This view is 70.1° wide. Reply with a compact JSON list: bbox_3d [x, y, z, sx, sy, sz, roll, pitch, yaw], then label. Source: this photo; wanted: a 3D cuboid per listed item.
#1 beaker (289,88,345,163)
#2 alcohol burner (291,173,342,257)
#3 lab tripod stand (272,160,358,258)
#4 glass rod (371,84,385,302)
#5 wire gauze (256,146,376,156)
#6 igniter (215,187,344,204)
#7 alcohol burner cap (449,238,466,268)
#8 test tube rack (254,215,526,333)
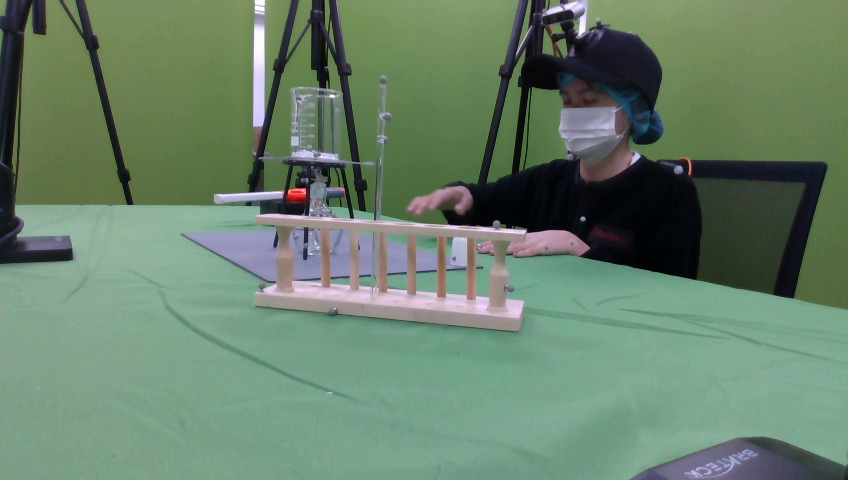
[{"bbox_3d":[-0.157,-0.160,0.862,0.083,0.100,0.074,7,7,34],"label":"beaker"},{"bbox_3d":[-0.155,-0.037,0.870,0.078,0.119,0.078,1,6,0],"label":"alcohol burner"},{"bbox_3d":[-0.159,-0.048,0.876,0.148,0.131,0.148,3,5,0],"label":"lab tripod stand"},{"bbox_3d":[-0.041,-0.041,0.548,0.008,0.199,0.008,2,2,0],"label":"glass rod"},{"bbox_3d":[-0.155,-0.128,0.871,0.124,0.011,0.122,2,7,36],"label":"wire gauze"},{"bbox_3d":[-0.290,-0.093,1.256,0.278,0.025,0.057,-6,11,-34],"label":"igniter"},{"bbox_3d":[0.051,0.014,0.827,0.034,0.048,0.034,2,5,0],"label":"alcohol burner cap"},{"bbox_3d":[-0.030,0.025,0.557,0.242,0.085,0.067,4,7,12],"label":"test tube rack"}]
